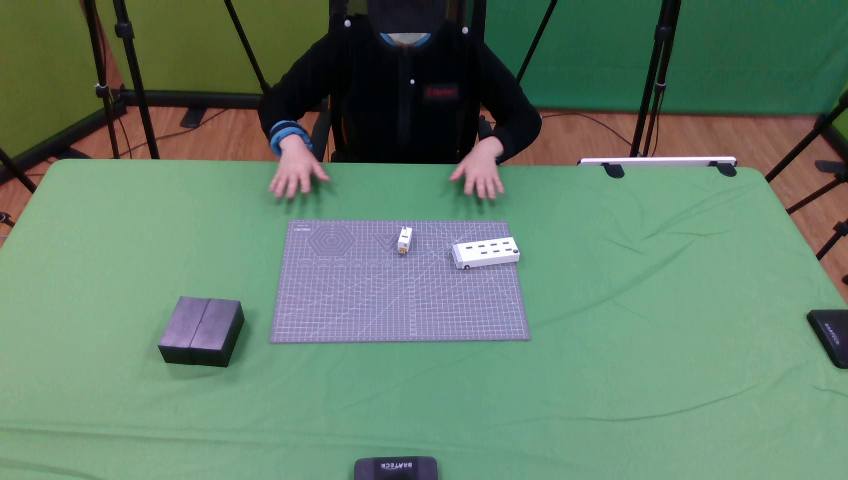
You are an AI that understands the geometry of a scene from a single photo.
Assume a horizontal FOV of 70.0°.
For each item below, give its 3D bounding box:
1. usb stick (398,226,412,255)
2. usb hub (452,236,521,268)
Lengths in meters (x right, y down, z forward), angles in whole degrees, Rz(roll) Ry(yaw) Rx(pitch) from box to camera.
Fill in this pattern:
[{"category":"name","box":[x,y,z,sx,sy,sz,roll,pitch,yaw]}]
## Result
[{"category":"usb stick","box":[-0.038,0.003,1.184,0.021,0.027,0.059,11,49,4]},{"category":"usb hub","box":[0.121,0.024,1.176,0.125,0.025,0.049,-7,48,-10]}]
